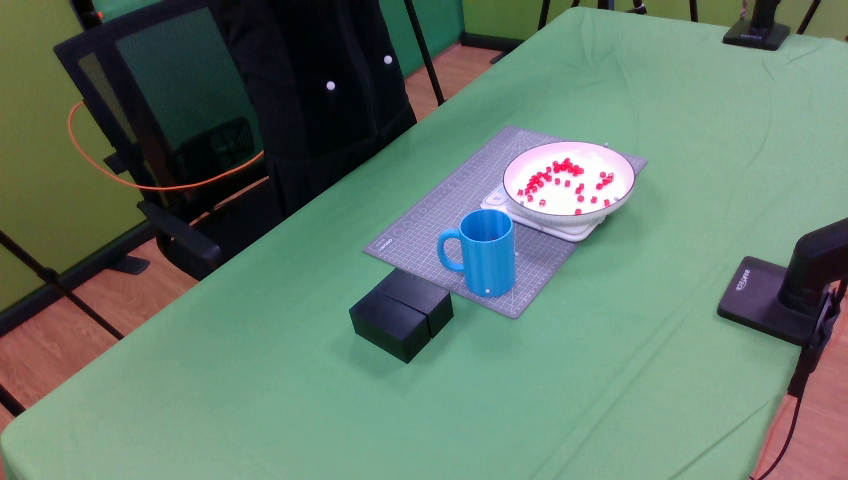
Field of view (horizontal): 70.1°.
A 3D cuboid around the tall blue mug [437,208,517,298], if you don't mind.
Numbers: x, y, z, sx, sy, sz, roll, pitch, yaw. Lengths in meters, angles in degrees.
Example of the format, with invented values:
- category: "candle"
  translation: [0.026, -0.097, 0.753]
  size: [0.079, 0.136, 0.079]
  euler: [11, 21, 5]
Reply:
- category: "tall blue mug"
  translation: [0.078, 0.023, 0.869]
  size: [0.107, 0.108, 0.077]
  euler: [-14, 41, -6]

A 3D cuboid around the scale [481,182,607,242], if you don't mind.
- category: "scale"
  translation: [0.211, -0.070, 1.014]
  size: [0.199, 0.032, 0.149]
  euler: [23, 49, 33]

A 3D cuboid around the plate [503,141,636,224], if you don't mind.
- category: "plate"
  translation: [0.233, -0.091, 0.983]
  size: [0.209, 0.038, 0.208]
  euler: [-5, 41, 5]
